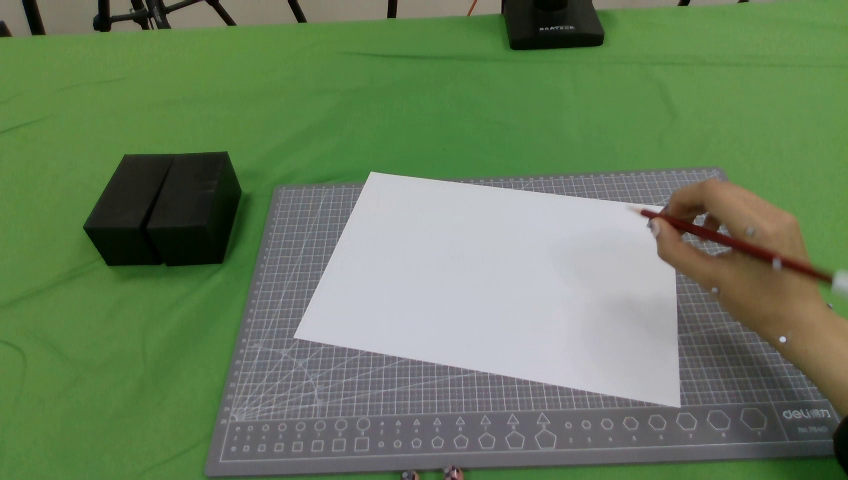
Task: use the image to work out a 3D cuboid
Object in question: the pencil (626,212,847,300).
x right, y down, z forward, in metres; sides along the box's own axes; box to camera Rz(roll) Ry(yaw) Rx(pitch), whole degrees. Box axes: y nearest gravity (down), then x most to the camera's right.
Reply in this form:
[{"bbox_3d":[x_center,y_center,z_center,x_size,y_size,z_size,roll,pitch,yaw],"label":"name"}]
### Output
[{"bbox_3d":[0.201,0.007,0.396,0.012,0.012,0.192,-24,26,-18],"label":"pencil"}]
